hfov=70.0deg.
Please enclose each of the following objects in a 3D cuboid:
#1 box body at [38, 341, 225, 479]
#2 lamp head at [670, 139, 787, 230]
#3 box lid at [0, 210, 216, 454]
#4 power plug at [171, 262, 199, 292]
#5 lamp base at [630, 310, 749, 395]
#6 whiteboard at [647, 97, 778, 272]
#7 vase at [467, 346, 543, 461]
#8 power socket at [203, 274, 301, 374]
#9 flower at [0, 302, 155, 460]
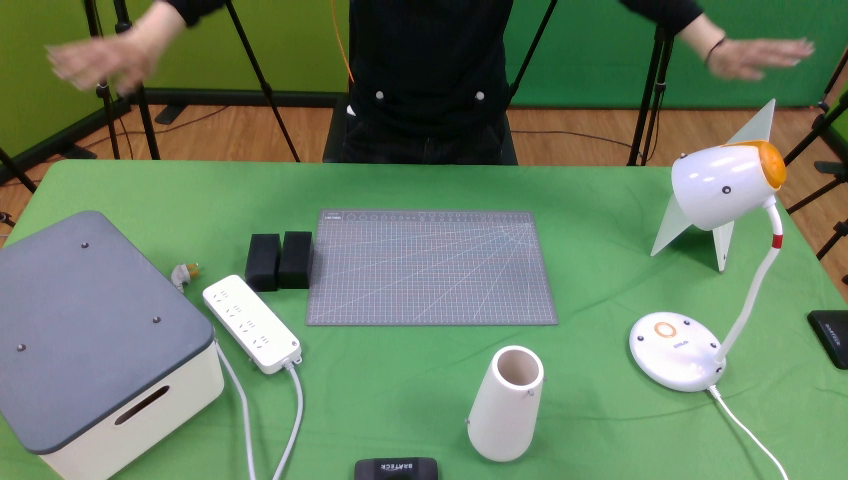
[{"bbox_3d":[-0.506,0.155,0.915,0.362,0.161,0.254,35,54,26],"label":"box body"},{"bbox_3d":[0.415,-0.079,0.812,0.113,0.123,0.112,13,70,-37],"label":"lamp head"},{"bbox_3d":[-0.504,0.102,0.863,0.369,0.015,0.263,35,53,26],"label":"box lid"},{"bbox_3d":[-0.429,0.075,1.101,0.053,0.035,0.072,-19,91,-27],"label":"power plug"},{"bbox_3d":[0.447,0.142,0.984,0.161,0.181,0.178,-24,55,-24],"label":"lamp base"},{"bbox_3d":[0.602,-0.079,1.162,0.144,0.306,0.216,35,51,2],"label":"whiteboard"},{"bbox_3d":[0.116,0.234,0.861,0.098,0.201,0.097,1,47,-1],"label":"vase"},{"bbox_3d":[-0.297,0.140,1.035,0.072,0.033,0.225,-32,57,-29],"label":"power socket"},{"bbox_3d":[-0.553,0.222,0.944,0.361,0.038,0.044,39,62,6],"label":"flower"}]
